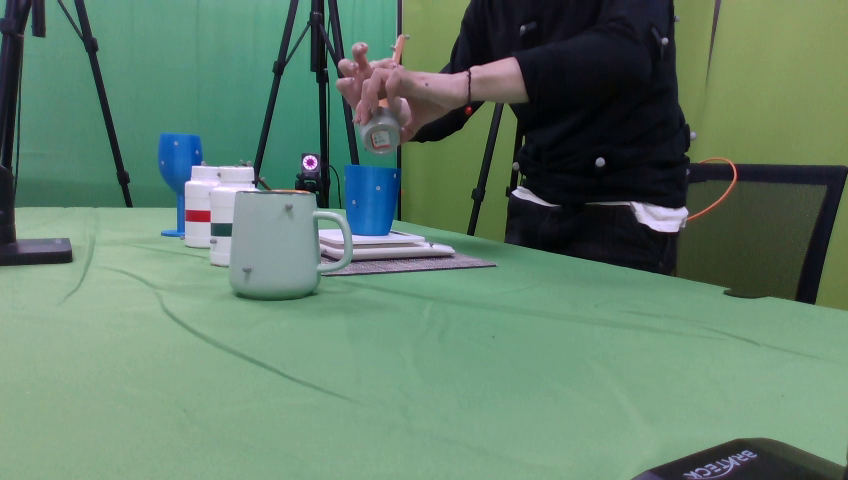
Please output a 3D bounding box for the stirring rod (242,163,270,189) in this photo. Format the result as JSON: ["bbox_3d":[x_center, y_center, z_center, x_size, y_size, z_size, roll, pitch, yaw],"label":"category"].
[{"bbox_3d":[-0.298,-0.091,1.198,0.014,0.006,0.177,11,-31,45],"label":"stirring rod"}]

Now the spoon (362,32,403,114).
[{"bbox_3d":[-0.057,-0.245,0.919,0.041,0.193,0.022,-3,-35,26],"label":"spoon"}]

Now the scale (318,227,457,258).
[{"bbox_3d":[-0.066,0.001,0.906,0.202,0.031,0.148,-2,8,-31],"label":"scale"}]

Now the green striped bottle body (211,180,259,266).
[{"bbox_3d":[-0.243,-0.029,0.784,0.063,0.119,0.063,2,7,0],"label":"green striped bottle body"}]

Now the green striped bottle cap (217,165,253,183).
[{"bbox_3d":[-0.242,-0.085,0.777,0.044,0.020,0.044,2,9,0],"label":"green striped bottle cap"}]

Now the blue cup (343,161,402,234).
[{"bbox_3d":[-0.078,-0.062,0.884,0.093,0.100,0.092,4,6,0],"label":"blue cup"}]

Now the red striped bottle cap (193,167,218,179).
[{"bbox_3d":[-0.329,-0.103,0.921,0.044,0.017,0.044,0,8,0],"label":"red striped bottle cap"}]

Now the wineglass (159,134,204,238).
[{"bbox_3d":[-0.415,-0.093,1.040,0.074,0.172,0.073,2,7,0],"label":"wineglass"}]

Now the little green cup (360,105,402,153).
[{"bbox_3d":[-0.061,-0.154,0.848,0.061,0.061,0.038,1,36,-4],"label":"little green cup"}]

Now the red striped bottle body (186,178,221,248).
[{"bbox_3d":[-0.331,-0.050,0.927,0.063,0.119,0.063,2,6,0],"label":"red striped bottle body"}]

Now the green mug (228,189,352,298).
[{"bbox_3d":[-0.135,0.002,0.618,0.125,0.105,0.092,2,7,4],"label":"green mug"}]
